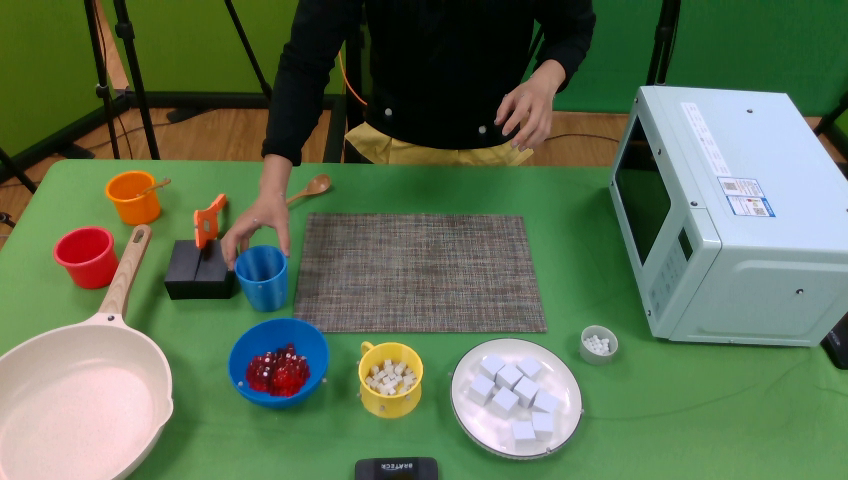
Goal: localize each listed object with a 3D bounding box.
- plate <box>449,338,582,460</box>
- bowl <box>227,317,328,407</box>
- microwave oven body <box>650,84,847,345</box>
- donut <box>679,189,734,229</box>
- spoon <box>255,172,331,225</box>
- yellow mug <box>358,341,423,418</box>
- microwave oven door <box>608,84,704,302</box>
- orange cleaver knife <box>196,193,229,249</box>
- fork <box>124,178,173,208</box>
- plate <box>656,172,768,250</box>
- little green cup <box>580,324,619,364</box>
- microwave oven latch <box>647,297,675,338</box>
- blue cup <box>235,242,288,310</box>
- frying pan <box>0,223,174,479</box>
[{"bbox_3d":[0.141,0.251,0.955,0.208,0.039,0.206,2,46,-2],"label":"plate"},{"bbox_3d":[-0.222,0.203,0.947,0.151,0.077,0.150,2,46,-2],"label":"bowl"},{"bbox_3d":[0.569,-0.054,1.116,0.326,0.261,0.439,2,46,-1],"label":"microwave oven body"},{"bbox_3d":[0.545,-0.062,1.175,0.099,0.048,0.098,0,44,0],"label":"donut"},{"bbox_3d":[-0.272,-0.087,1.257,0.041,0.022,0.193,43,57,16],"label":"spoon"},{"bbox_3d":[-0.063,0.210,0.961,0.100,0.064,0.130,-29,54,-28],"label":"yellow mug"},{"bbox_3d":[0.424,-0.096,1.138,0.039,0.245,0.353,2,46,-1],"label":"microwave oven door"},{"bbox_3d":[-0.405,-0.041,1.163,0.012,0.077,0.210,1,18,-3],"label":"orange cleaver knife"},{"bbox_3d":[-0.525,-0.090,1.154,0.207,0.019,0.028,-17,26,45],"label":"fork"},{"bbox_3d":[0.557,-0.053,1.186,0.209,0.038,0.208,2,45,-2],"label":"plate"},{"bbox_3d":[0.296,0.179,1.031,0.061,0.039,0.061,2,45,-2],"label":"little green cup"},{"bbox_3d":[0.413,0.133,1.060,0.030,0.029,0.078,5,46,2],"label":"microwave oven latch"},{"bbox_3d":[-0.276,0.070,1.052,0.093,0.101,0.092,2,49,-2],"label":"blue cup"},{"bbox_3d":[-0.504,0.169,0.941,0.307,0.103,0.485,5,54,-1],"label":"frying pan"}]
